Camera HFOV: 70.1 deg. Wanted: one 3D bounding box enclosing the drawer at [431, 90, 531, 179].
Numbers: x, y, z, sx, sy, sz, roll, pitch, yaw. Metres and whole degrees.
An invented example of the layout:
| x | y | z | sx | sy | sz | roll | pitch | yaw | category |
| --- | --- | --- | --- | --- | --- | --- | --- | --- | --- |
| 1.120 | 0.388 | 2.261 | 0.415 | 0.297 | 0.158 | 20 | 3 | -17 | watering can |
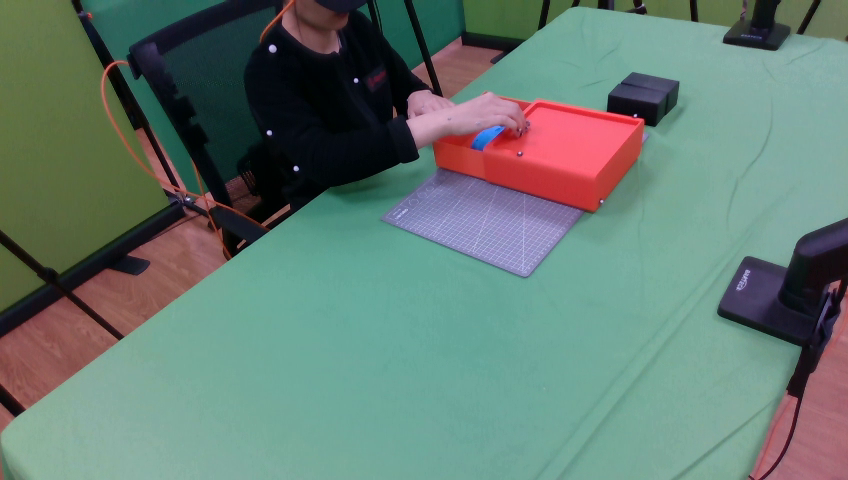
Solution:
| x | y | z | sx | sy | sz | roll | pitch | yaw | category |
| --- | --- | --- | --- | --- | --- | --- | --- | --- | --- |
| 0.154 | -0.191 | 1.131 | 0.210 | 0.073 | 0.195 | 21 | 48 | 31 | drawer |

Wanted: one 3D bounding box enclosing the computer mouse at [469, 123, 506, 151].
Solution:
| x | y | z | sx | sy | sz | roll | pitch | yaw | category |
| --- | --- | --- | --- | --- | --- | --- | --- | --- | --- |
| 0.140 | -0.195 | 1.158 | 0.062 | 0.041 | 0.117 | 18 | 42 | 36 | computer mouse |

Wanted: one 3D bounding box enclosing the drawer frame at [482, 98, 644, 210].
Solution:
| x | y | z | sx | sy | sz | roll | pitch | yaw | category |
| --- | --- | --- | --- | --- | --- | --- | --- | --- | --- |
| 0.245 | -0.159 | 1.071 | 0.212 | 0.083 | 0.202 | 20 | 48 | 30 | drawer frame |
